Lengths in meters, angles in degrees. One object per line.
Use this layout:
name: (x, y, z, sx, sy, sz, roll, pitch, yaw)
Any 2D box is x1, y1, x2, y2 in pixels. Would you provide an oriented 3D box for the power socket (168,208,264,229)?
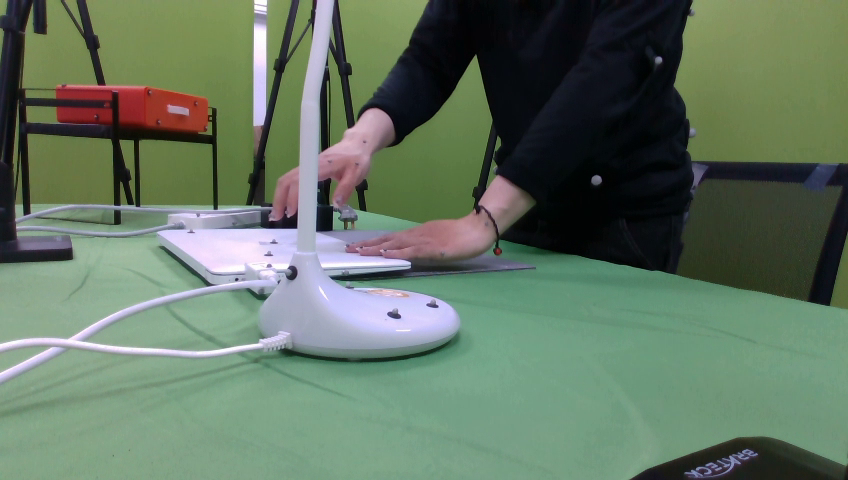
power socket: (-0.381, -0.038, 1.128, 0.072, 0.032, 0.227, 4, 8, 16)

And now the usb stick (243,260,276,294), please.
usb stick: (-0.166, 0.035, 0.603, 0.021, 0.027, 0.059, -8, 8, -28)

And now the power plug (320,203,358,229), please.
power plug: (-0.169, -0.046, 1.209, 0.072, 0.052, 0.035, -5, -12, -2)

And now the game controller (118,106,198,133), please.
game controller: (-0.555, -0.252, 1.255, 0.097, 0.051, 0.155, 8, 12, 18)

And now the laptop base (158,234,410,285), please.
laptop base: (-0.204, 0.019, 0.807, 0.237, 0.023, 0.352, 0, 7, -33)

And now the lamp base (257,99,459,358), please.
lamp base: (-0.055, -0.013, 0.463, 0.160, 0.180, 0.180, 6, 11, 27)

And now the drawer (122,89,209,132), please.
drawer: (-0.595, -0.268, 1.263, 0.211, 0.073, 0.195, 4, 8, 15)

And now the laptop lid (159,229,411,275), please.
laptop lid: (-0.201, 0.007, 0.806, 0.243, 0.013, 0.355, -1, 8, -31)

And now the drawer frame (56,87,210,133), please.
drawer frame: (-0.598, -0.269, 1.261, 0.213, 0.082, 0.202, 4, 8, 14)
